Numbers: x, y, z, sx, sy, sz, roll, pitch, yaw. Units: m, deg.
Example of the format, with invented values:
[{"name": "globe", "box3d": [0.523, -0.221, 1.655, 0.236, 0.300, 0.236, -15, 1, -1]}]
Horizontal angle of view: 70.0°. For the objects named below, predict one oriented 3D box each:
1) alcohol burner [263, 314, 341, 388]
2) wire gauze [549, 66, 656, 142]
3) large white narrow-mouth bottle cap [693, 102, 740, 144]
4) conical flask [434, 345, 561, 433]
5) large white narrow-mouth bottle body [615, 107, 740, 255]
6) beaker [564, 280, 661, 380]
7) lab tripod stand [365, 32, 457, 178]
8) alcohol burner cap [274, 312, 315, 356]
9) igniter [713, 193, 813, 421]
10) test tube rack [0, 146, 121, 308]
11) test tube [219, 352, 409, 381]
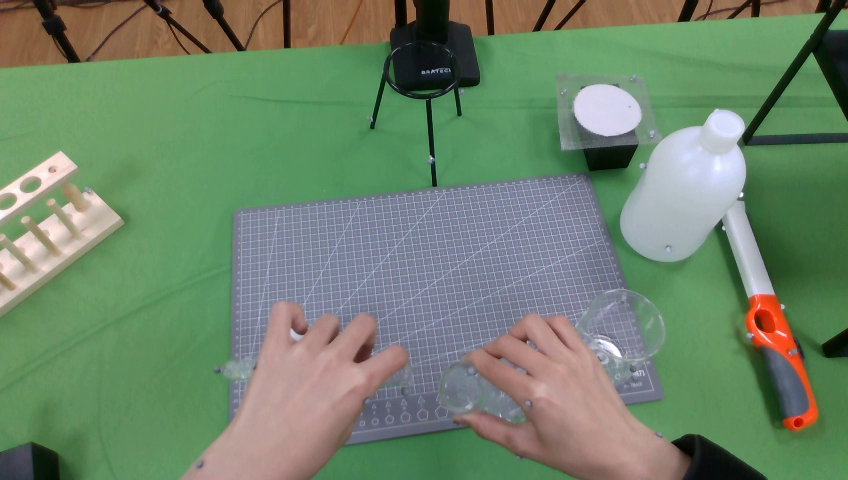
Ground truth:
[{"name": "alcohol burner", "box3d": [-0.122, 0.103, 0.598, 0.078, 0.120, 0.077, 2, 59, -2]}, {"name": "wire gauze", "box3d": [0.223, -0.175, 0.769, 0.121, 0.011, 0.124, 0, 60, -1]}, {"name": "large white narrow-mouth bottle cap", "box3d": [0.282, -0.114, 0.586, 0.038, 0.024, 0.037, 1, 60, -1]}, {"name": "conical flask", "box3d": [0.055, 0.116, 0.486, 0.075, 0.123, 0.075, -10, 70, 31]}, {"name": "large white narrow-mouth bottle body", "box3d": [0.281, -0.069, 0.661, 0.102, 0.196, 0.101, 0, 60, 0]}, {"name": "beaker", "box3d": [0.184, 0.096, 0.617, 0.084, 0.101, 0.073, -2, 60, -1]}, {"name": "lab tripod stand", "box3d": [-0.006, -0.172, 0.746, 0.148, 0.132, 0.147, 1, 61, -2]}, {"name": "alcohol burner cap", "box3d": [-0.123, 0.086, 0.566, 0.034, 0.048, 0.033, -2, 60, 4]}, {"name": "igniter", "box3d": [0.376, 0.065, 0.684, 0.057, 0.025, 0.274, 3, 60, -11]}, {"name": "test tube rack", "box3d": [-0.469, 0.011, 0.659, 0.066, 0.086, 0.242, 38, 66, 18]}, {"name": "test tube", "box3d": [-0.084, 0.093, 0.449, 0.150, 0.017, 0.017, 0, 60, 14]}]
